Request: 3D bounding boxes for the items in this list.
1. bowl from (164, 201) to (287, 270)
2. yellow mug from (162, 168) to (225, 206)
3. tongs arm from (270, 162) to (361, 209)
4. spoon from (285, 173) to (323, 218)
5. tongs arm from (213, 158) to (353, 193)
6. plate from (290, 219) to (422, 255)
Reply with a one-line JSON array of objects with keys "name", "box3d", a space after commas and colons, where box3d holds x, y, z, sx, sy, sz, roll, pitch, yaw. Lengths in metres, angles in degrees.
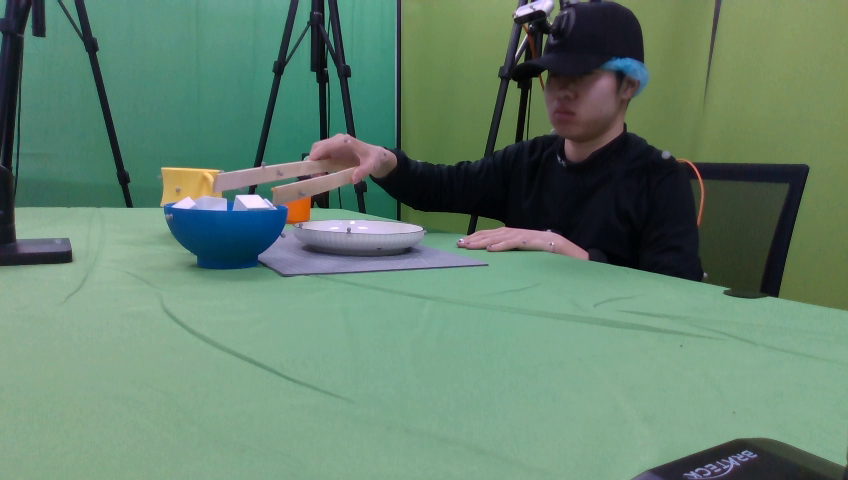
[{"name": "bowl", "box3d": [-0.254, -0.006, 0.782, 0.151, 0.077, 0.151, 2, 8, 0]}, {"name": "yellow mug", "box3d": [-0.383, -0.087, 1.026, 0.130, 0.064, 0.100, 11, 11, 44]}, {"name": "tongs arm", "box3d": [-0.153, -0.089, 0.926, 0.028, 0.028, 0.388, 10, 13, 8]}, {"name": "spoon", "box3d": [-0.262, -0.115, 1.359, 0.041, 0.194, 0.022, 12, -33, 38]}, {"name": "tongs arm", "box3d": [-0.197, -0.101, 0.933, 0.050, 0.026, 0.385, 14, 14, 10]}, {"name": "plate", "box3d": [-0.108, -0.005, 0.963, 0.208, 0.039, 0.207, 3, 7, 0]}]
